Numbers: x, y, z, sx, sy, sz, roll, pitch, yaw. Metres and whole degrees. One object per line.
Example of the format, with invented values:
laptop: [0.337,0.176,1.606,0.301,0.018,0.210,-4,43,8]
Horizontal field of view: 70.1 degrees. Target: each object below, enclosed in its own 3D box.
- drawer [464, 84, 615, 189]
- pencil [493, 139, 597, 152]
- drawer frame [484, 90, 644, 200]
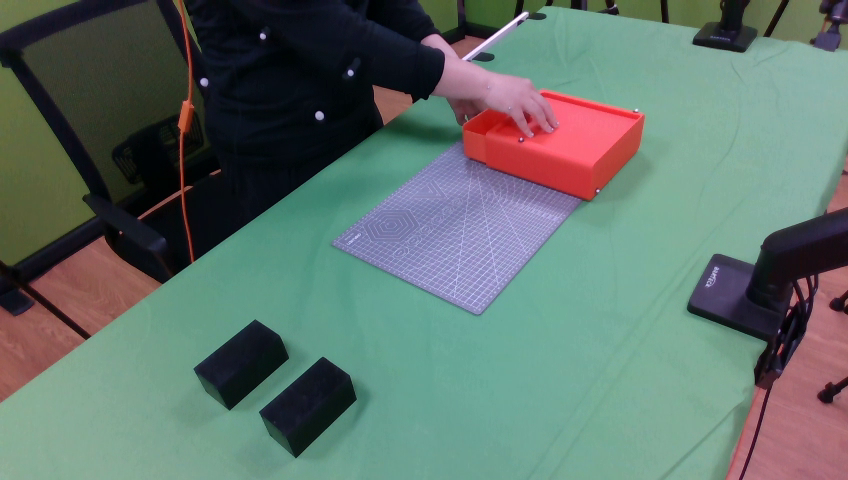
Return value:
drawer: [0.213,-0.197,1.123,0.210,0.073,0.195,26,49,31]
pencil: [0.225,-0.175,1.127,0.194,0.012,0.012,-4,40,3]
drawer frame: [0.253,-0.179,1.095,0.212,0.083,0.202,24,48,31]
